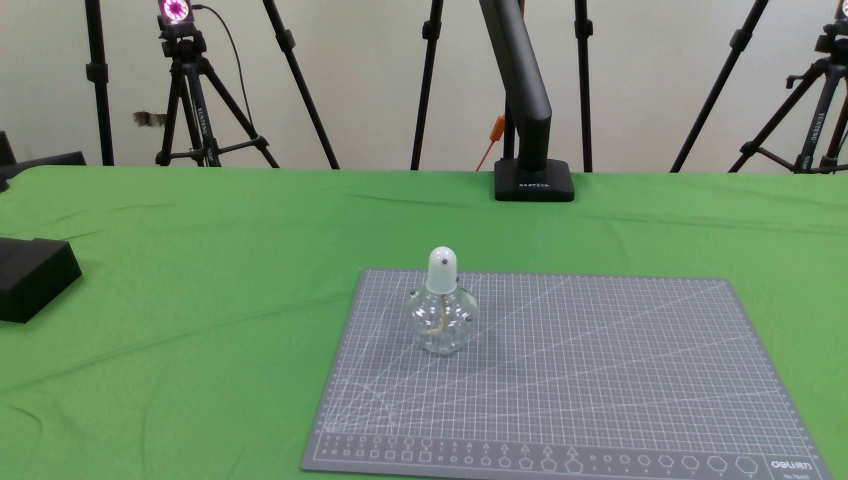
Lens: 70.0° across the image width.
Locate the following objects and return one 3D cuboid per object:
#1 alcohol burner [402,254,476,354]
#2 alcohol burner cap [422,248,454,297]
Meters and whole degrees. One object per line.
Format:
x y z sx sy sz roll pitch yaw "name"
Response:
0.016 0.061 0.630 0.078 0.120 0.077 0 34 0 "alcohol burner"
0.016 0.030 0.610 0.034 0.048 0.033 3 35 -2 "alcohol burner cap"
